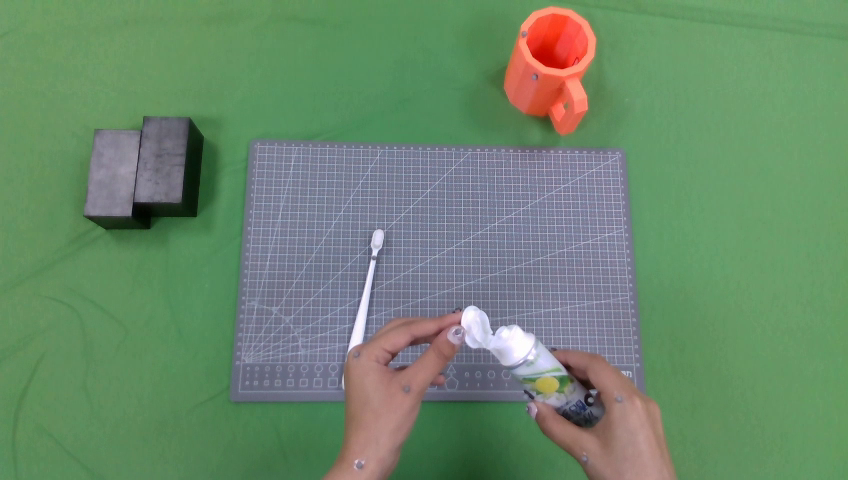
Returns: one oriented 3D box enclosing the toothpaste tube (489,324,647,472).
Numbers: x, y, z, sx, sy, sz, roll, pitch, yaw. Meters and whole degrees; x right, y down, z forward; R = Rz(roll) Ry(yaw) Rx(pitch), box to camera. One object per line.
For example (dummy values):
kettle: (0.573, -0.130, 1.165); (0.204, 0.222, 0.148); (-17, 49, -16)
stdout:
toothpaste tube: (0.113, 0.130, 0.500); (0.055, 0.034, 0.166); (-39, 104, 24)

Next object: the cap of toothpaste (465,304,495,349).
cap of toothpaste: (0.045, 0.070, 0.486); (0.011, 0.038, 0.037); (-4, 72, 35)

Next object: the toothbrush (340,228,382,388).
toothbrush: (-0.069, 0.072, 0.668); (0.014, 0.016, 0.181); (14, 77, -13)

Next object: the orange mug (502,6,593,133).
orange mug: (0.149, -0.193, 0.707); (0.083, 0.101, 0.125); (-20, 73, -8)
